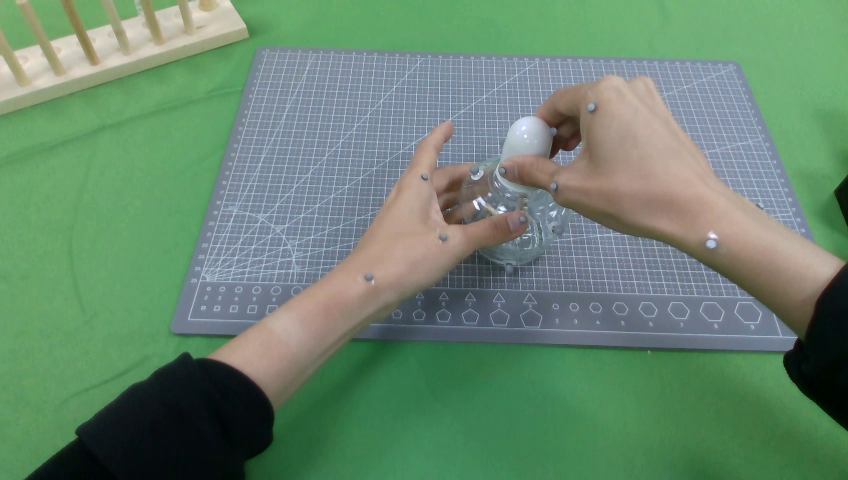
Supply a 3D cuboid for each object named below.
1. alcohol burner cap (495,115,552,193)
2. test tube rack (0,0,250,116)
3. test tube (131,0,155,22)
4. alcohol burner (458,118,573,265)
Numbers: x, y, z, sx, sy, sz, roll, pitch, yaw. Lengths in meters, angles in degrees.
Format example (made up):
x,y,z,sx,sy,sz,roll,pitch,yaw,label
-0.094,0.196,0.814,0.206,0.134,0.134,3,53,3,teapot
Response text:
x,y,z,sx,sy,sz,roll,pitch,yaw,label
0.062,-0.056,0.373,0.034,0.048,0.033,1,52,-1,alcohol burner cap
-0.287,-0.192,0.525,0.242,0.086,0.066,-24,58,-18,test tube rack
-0.258,-0.256,0.507,0.017,0.151,0.017,-2,45,2,test tube
0.063,-0.036,0.399,0.078,0.120,0.077,1,55,-2,alcohol burner
